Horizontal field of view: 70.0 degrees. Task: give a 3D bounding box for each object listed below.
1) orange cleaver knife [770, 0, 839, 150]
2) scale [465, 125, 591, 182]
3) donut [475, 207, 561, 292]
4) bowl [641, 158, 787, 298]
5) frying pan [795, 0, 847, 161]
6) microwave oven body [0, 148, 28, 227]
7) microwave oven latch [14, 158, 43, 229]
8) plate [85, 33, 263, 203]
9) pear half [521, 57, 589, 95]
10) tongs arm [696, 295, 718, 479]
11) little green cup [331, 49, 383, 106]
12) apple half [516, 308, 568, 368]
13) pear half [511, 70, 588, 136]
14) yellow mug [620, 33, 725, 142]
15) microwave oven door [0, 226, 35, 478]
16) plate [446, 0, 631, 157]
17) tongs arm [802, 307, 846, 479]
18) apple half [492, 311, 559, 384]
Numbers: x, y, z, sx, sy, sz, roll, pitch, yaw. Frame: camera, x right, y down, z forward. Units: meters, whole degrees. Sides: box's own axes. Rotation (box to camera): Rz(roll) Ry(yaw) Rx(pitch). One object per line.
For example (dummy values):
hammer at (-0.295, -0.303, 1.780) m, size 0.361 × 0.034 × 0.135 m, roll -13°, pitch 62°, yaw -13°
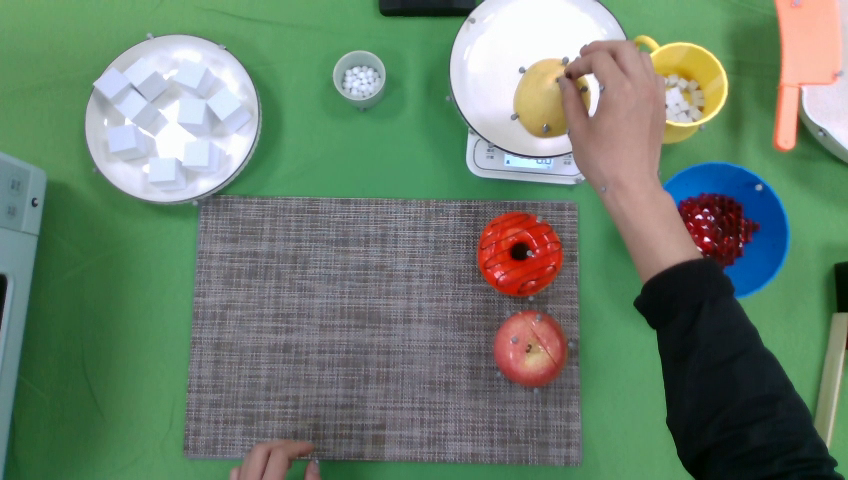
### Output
orange cleaver knife at (0.418, -0.201, 0.670) m, size 0.077 × 0.012 × 0.210 m, roll 6°, pitch 83°, yaw 5°
scale at (0.129, -0.174, 0.726) m, size 0.148 × 0.031 × 0.200 m, roll 5°, pitch 83°, yaw 2°
donut at (0.106, 0.011, 0.692) m, size 0.099 × 0.048 × 0.098 m, roll 0°, pitch 83°, yaw 3°
bowl at (0.309, -0.008, 0.678) m, size 0.151 × 0.077 × 0.151 m, roll 0°, pitch 83°, yaw 1°
frying pan at (0.600, -0.116, 0.673) m, size 0.307 × 0.103 × 0.484 m, roll -26°, pitch 75°, yaw -1°
microwave oven body at (-0.625, 0.098, 0.584) m, size 0.326 × 0.261 × 0.440 m, roll 4°, pitch 83°, yaw 1°
microwave oven latch at (-0.464, -0.054, 0.698) m, size 0.030 × 0.029 × 0.079 m, roll 6°, pitch 83°, yaw 1°
plate at (-0.294, -0.143, 0.726) m, size 0.208 × 0.039 × 0.207 m, roll 0°, pitch 82°, yaw 1°
pear half at (0.134, -0.168, 0.610) m, size 0.070 × 0.088 × 0.031 m, roll 12°, pitch 86°, yaw 2°
tongs arm at (0.333, 0.251, 0.665) m, size 0.051 × 0.026 × 0.383 m, roll 2°, pitch 83°, yaw -5°
little green cup at (-0.078, -0.193, 0.729) m, size 0.061 × 0.039 × 0.061 m, roll 0°, pitch 82°, yaw 2°
apple half at (0.135, 0.100, 0.663) m, size 0.033 × 0.081 × 0.081 m, roll -37°, pitch 83°, yaw 0°
pear half at (0.124, -0.135, 0.598) m, size 0.076 × 0.110 × 0.056 m, roll 13°, pitch 85°, yaw 3°
yellow mug at (0.278, -0.185, 0.707) m, size 0.100 × 0.064 × 0.130 m, roll -32°, pitch 82°, yaw -3°
microwave oven door at (-0.483, 0.148, 0.569) m, size 0.039 × 0.244 × 0.354 m, roll 3°, pitch 82°, yaw 2°
plate at (0.129, -0.193, 0.695) m, size 0.209 × 0.038 × 0.208 m, roll 0°, pitch 82°, yaw 1°
tongs arm at (0.418, 0.261, 0.668) m, size 0.028 × 0.028 × 0.386 m, roll 17°, pitch 83°, yaw -6°
apple half at (0.103, 0.124, 0.662) m, size 0.053 × 0.075 × 0.080 m, roll -35°, pitch 85°, yaw 0°
